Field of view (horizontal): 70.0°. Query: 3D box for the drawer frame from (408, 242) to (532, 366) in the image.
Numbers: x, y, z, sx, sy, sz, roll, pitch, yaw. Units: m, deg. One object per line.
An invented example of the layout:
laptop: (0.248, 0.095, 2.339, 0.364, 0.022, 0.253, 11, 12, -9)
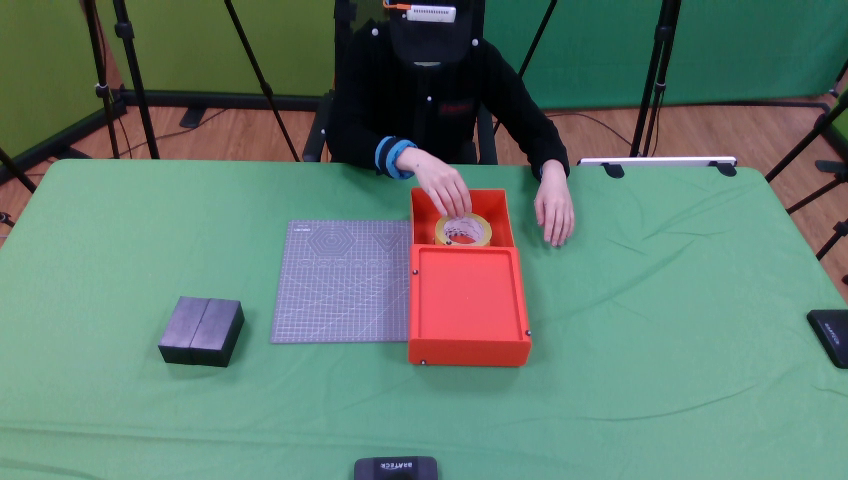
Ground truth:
drawer frame: (0.073, 0.107, 1.053, 0.202, 0.083, 0.212, 2, 47, -3)

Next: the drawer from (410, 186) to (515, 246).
drawer: (0.071, -0.011, 1.173, 0.195, 0.073, 0.210, 2, 45, -4)

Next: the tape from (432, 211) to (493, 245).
tape: (0.074, -0.002, 1.173, 0.117, 0.053, 0.116, 2, 43, -2)
